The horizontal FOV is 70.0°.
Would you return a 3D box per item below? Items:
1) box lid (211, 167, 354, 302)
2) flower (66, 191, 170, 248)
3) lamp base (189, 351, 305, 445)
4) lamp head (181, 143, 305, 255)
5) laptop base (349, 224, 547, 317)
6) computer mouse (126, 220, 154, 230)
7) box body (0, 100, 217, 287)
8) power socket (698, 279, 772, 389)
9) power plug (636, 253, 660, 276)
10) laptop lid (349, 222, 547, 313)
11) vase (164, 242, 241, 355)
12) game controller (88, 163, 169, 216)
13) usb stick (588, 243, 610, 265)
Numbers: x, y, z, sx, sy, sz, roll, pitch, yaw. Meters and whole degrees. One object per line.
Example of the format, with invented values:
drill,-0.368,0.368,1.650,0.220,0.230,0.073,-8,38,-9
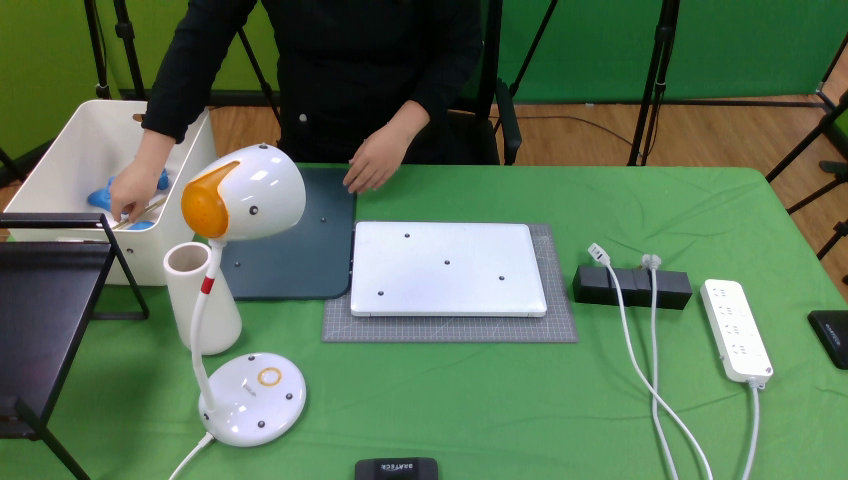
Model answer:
box lid,-0.276,-0.024,1.205,0.263,0.015,0.369,0,46,-4
flower,-0.560,-0.055,1.197,0.044,0.038,0.361,41,54,5
lamp base,-0.268,0.196,0.876,0.160,0.181,0.179,26,52,20
lamp head,-0.216,-0.044,0.697,0.112,0.113,0.123,23,31,17
laptop base,0.040,0.055,1.149,0.355,0.023,0.234,1,42,-4
computer mouse,-0.537,0.008,1.127,0.062,0.041,0.117,32,56,20
box body,-0.560,-0.092,1.145,0.254,0.161,0.361,3,46,-2
power socket,0.551,0.157,1.081,0.072,0.033,0.225,5,46,1
power plug,0.415,0.050,1.139,0.035,0.053,0.072,46,49,10
laptop lid,0.041,0.045,1.143,0.357,0.013,0.240,2,44,-3
vase,-0.349,0.096,0.954,0.098,0.201,0.097,3,47,-3
game controller,-0.598,-0.112,1.235,0.097,0.052,0.155,28,51,20
usb stick,0.336,0.024,1.172,0.027,0.021,0.059,32,17,-12
